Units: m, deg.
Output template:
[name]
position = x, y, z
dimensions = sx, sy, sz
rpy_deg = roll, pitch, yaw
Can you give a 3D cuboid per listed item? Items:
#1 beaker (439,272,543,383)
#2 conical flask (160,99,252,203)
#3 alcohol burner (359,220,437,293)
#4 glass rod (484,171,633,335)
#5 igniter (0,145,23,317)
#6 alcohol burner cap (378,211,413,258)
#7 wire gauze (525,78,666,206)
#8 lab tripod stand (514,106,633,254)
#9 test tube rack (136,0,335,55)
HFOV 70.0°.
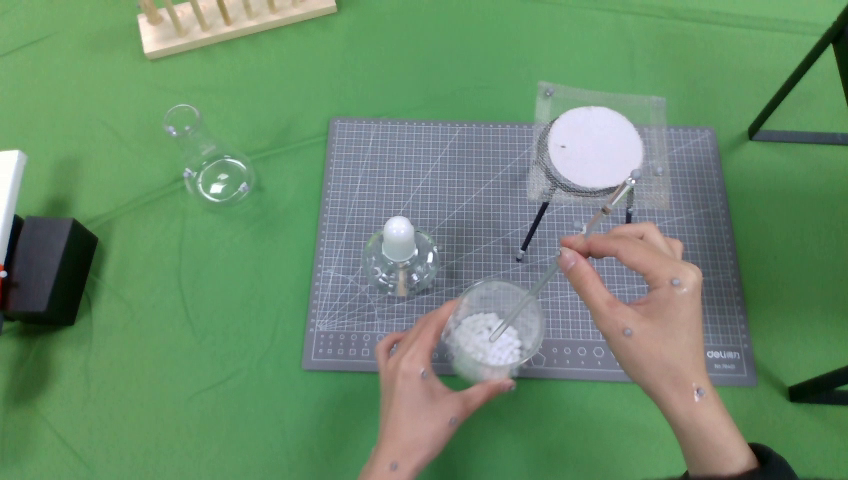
[beaker]
position = 0.052, 0.081, 0.519
dimensions = 0.084, 0.101, 0.073
rpy_deg = -13, 68, -7
[conical flask]
position = -0.231, -0.096, 0.631
dimensions = 0.075, 0.123, 0.075
rpy_deg = 0, 67, 1
[alcohol burner]
position = -0.025, 0.008, 0.590
dimensions = 0.078, 0.120, 0.077
rpy_deg = 1, 66, -1
[glass rod]
position = 0.085, 0.019, 0.424
dimensions = 0.008, 0.200, 0.008
rpy_deg = 12, 51, -15
[igniter]
position = -0.427, 0.031, 0.580
dimensions = 0.057, 0.025, 0.274
rpy_deg = -6, 67, 3
[alcohol burner cap]
position = -0.026, -0.008, 0.557
dimensions = 0.034, 0.048, 0.033
rpy_deg = 2, 61, -2
[wire gauze]
position = 0.156, -0.089, 0.545
dimensions = 0.121, 0.011, 0.124
rpy_deg = 8, 68, 2
[lab tripod stand]
position = 0.149, -0.060, 0.606
dimensions = 0.148, 0.132, 0.147
rpy_deg = 1, 66, -1
[test tube rack]
position = -0.239, -0.308, 0.738
dimensions = 0.242, 0.086, 0.066
rpy_deg = -17, 69, -7
